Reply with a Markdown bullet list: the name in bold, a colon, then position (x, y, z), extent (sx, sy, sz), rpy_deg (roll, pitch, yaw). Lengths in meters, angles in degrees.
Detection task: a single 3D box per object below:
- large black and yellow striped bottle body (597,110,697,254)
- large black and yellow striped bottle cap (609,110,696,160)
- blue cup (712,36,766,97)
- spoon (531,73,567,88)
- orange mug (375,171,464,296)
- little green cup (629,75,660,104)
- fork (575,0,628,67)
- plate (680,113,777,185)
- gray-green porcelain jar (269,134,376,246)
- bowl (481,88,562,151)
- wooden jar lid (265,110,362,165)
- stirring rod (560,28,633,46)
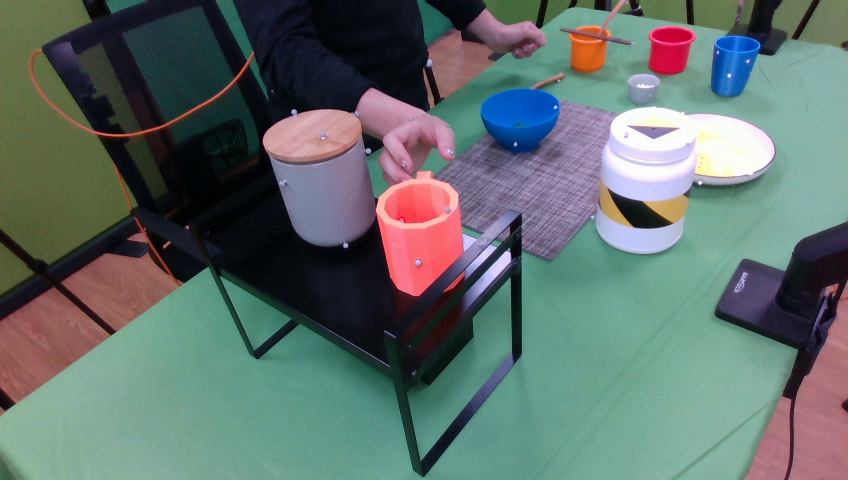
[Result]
- **large black and yellow striped bottle body**: position (0.331, -0.086, 0.904), extent (0.131, 0.185, 0.130), rpy_deg (-5, 41, 4)
- **large black and yellow striped bottle cap**: position (0.320, -0.150, 0.849), extent (0.115, 0.019, 0.114), rpy_deg (-4, 39, 3)
- **blue cup**: position (0.627, -0.350, 1.227), extent (0.092, 0.100, 0.092), rpy_deg (-4, 39, 4)
- **spoon**: position (0.249, -0.336, 1.332), extent (0.194, 0.022, 0.041), rpy_deg (-32, 33, -25)
- **orange mug**: position (-0.001, -0.016, 0.662), extent (0.083, 0.101, 0.125), rpy_deg (-2, 45, 8)
- **little green cup**: position (0.458, -0.314, 1.260), extent (0.061, 0.039, 0.061), rpy_deg (-4, 40, 4)
- **fork**: position (0.413, -0.481, 1.377), extent (0.207, 0.019, 0.028), rpy_deg (-56, 43, 12)
- **plate**: position (0.506, -0.158, 1.073), extent (0.209, 0.038, 0.208), rpy_deg (-5, 40, 4)
- **gray-green porcelain jar**: position (-0.115, -0.064, 0.715), extent (0.106, 0.127, 0.105), rpy_deg (-4, 40, 4)
- **bowl**: position (0.187, -0.223, 1.162), extent (0.151, 0.077, 0.150), rpy_deg (-4, 40, 4)
- **wooden jar lid**: position (-0.122, -0.112, 0.673), extent (0.108, 0.021, 0.108), rpy_deg (-4, 37, 4)
- **stirring rod**: position (0.382, -0.453, 1.345), extent (0.174, 0.006, 0.014), rpy_deg (26, 53, 33)
